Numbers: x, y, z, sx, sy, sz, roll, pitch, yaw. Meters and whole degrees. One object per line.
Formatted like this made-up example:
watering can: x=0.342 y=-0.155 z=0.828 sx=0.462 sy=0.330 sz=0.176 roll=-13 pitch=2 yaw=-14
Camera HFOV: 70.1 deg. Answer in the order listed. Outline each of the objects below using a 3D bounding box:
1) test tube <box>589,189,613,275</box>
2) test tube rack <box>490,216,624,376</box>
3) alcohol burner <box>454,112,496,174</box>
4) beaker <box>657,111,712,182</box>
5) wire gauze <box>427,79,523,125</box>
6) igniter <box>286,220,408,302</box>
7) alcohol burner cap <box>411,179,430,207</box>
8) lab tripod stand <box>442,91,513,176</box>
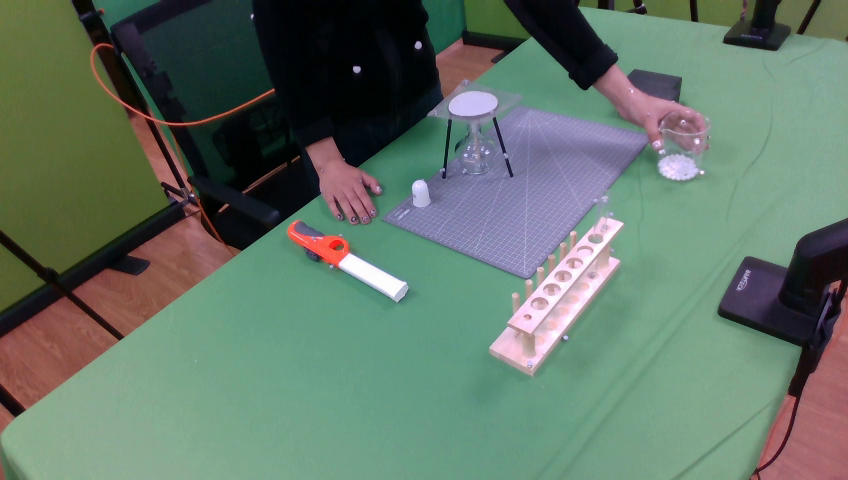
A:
test tube: x=0.238 y=-0.007 z=0.818 sx=0.017 sy=0.151 sz=0.017 roll=-3 pitch=43 yaw=4
test tube rack: x=0.184 y=0.064 z=0.822 sx=0.066 sy=0.085 sz=0.243 roll=24 pitch=50 yaw=33
alcohol burner: x=0.092 y=-0.181 z=1.102 sx=0.078 sy=0.119 sz=0.077 roll=-5 pitch=42 yaw=5
beaker: x=0.433 y=-0.155 z=1.022 sx=0.084 sy=0.101 sz=0.073 roll=-8 pitch=41 yaw=2
wire gauze: x=0.088 y=-0.239 z=1.050 sx=0.120 sy=0.011 sz=0.125 roll=22 pitch=50 yaw=30
igniter: x=-0.133 y=0.028 z=0.968 sx=0.274 sy=0.025 sz=0.057 roll=27 pitch=61 yaw=35
alcohol burner cap: x=-0.008 y=-0.085 z=1.063 sx=0.034 sy=0.048 sz=0.033 roll=-5 pitch=40 yaw=4
lab tripod stand: x=0.096 y=-0.190 z=1.096 sx=0.148 sy=0.132 sz=0.147 roll=-4 pitch=40 yaw=4
